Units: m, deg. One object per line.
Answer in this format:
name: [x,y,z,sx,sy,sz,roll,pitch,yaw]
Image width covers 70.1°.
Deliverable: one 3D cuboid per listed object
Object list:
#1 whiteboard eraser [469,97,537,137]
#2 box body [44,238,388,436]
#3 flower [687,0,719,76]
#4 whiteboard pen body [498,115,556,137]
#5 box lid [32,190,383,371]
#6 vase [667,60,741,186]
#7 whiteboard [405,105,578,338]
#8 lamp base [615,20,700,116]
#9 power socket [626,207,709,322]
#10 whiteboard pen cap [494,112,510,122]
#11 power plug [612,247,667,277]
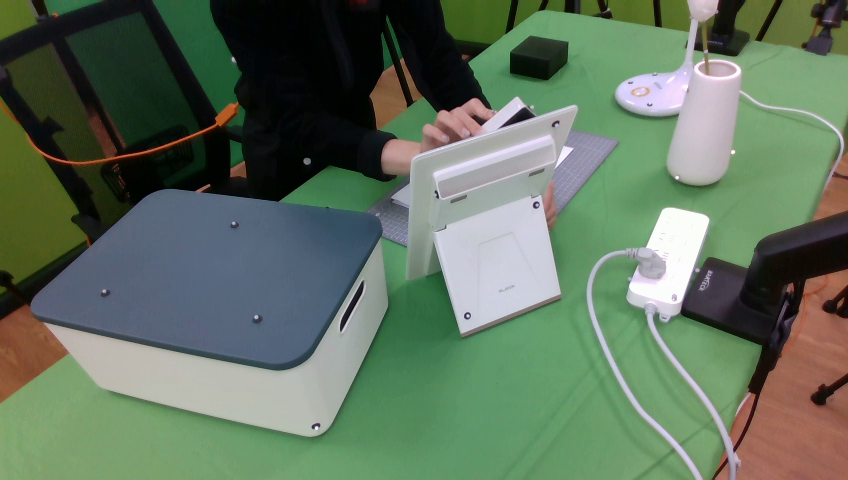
whiteboard eraser: [0.091,-0.122,0.746,0.112,0.056,0.041,-38,64,20]
box body: [-0.251,0.088,0.799,0.362,0.161,0.254,7,42,16]
flower: [0.436,-0.242,0.934,0.038,0.364,0.043,-24,49,8]
whiteboard pen body: [0.203,-0.232,1.213,0.139,0.017,0.017,27,51,36]
box lid: [-0.257,0.032,0.750,0.370,0.015,0.263,7,41,16]
vase: [0.463,-0.189,0.994,0.098,0.201,0.097,-4,40,4]
whiteboard: [0.102,0.003,0.787,0.218,0.306,0.143,-19,62,-14]
lamp base: [0.484,-0.364,1.211,0.180,0.181,0.159,-15,41,-14]
power socket: [0.360,0.026,0.886,0.072,0.033,0.227,17,46,27]
whiteboard pen cap: [0.161,-0.253,1.248,0.033,0.018,0.018,29,52,36]
power plug: [0.306,0.031,0.852,0.072,0.053,0.035,21,48,37]
